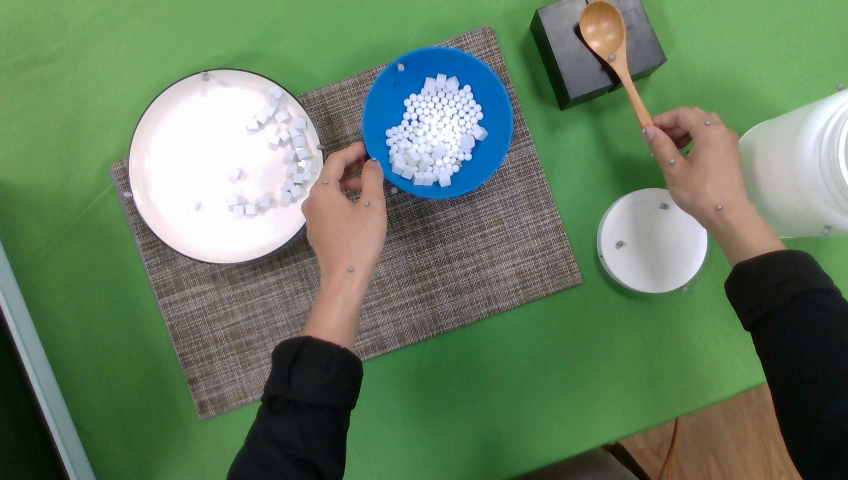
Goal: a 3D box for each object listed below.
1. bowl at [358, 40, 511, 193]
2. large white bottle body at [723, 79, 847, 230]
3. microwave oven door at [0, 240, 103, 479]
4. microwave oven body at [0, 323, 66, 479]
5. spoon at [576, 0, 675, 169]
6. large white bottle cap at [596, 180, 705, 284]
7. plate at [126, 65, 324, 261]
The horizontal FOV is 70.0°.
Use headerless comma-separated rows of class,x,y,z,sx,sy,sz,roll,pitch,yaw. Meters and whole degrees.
bowl,0.012,-0.120,0.630,0.151,0.077,0.151,0,91,1
large white bottle body,0.387,-0.077,0.576,0.130,0.184,0.130,0,89,1
microwave oven door,-0.410,0.165,0.542,0.039,0.244,0.355,-23,90,1
microwave oven body,-0.561,0.181,0.549,0.326,0.260,0.441,-22,91,0
spoon,0.207,-0.157,0.612,0.041,0.021,0.194,-27,94,12
large white bottle cap,0.247,-0.008,0.661,0.115,0.018,0.115,0,91,1
plate,-0.209,-0.081,0.653,0.209,0.038,0.209,0,90,1
